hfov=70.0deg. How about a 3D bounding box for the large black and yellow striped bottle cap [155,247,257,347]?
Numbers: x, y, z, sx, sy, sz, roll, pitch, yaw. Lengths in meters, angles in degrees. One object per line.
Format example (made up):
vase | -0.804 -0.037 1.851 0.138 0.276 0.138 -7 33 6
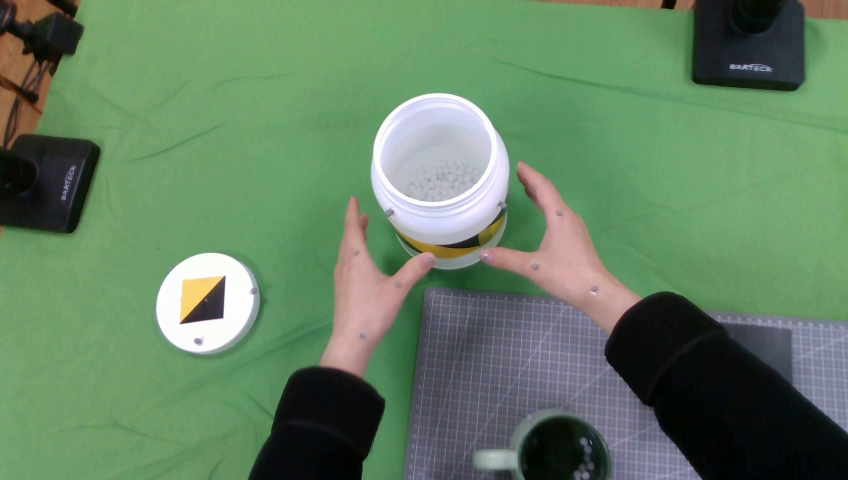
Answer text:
large black and yellow striped bottle cap | -0.248 0.064 0.689 0.115 0.019 0.114 -2 73 6

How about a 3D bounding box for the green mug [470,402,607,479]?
green mug | 0.105 0.199 0.566 0.125 0.105 0.092 -4 74 6

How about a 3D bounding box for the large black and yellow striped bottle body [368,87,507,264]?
large black and yellow striped bottle body | 0.017 -0.059 0.608 0.130 0.185 0.130 -2 73 6
